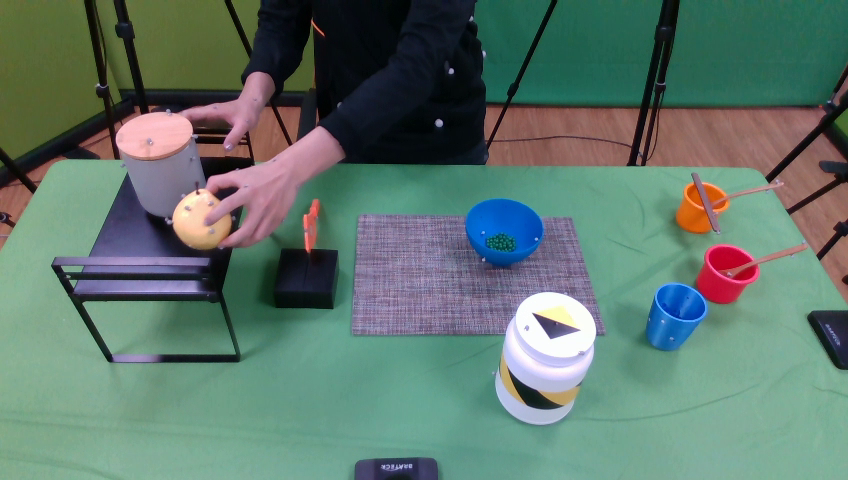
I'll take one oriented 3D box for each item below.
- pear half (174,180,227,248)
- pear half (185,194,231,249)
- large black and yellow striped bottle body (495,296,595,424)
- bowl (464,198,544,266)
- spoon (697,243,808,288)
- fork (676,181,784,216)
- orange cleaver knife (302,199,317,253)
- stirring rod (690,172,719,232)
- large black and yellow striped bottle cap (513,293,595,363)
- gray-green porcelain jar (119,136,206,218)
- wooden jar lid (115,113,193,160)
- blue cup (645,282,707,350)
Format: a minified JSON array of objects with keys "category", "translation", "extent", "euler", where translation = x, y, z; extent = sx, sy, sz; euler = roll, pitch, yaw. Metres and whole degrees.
[{"category":"pear half","translation":[-0.322,-0.047,0.859],"extent":[0.056,0.110,0.076],"euler":[31,42,20]},{"category":"pear half","translation":[-0.296,-0.022,0.852],"extent":[0.031,0.088,0.070],"euler":[30,42,20]},{"category":"large black and yellow striped bottle body","translation":[0.183,0.182,0.923],"extent":[0.131,0.185,0.130],"euler":[2,46,-2]},{"category":"bowl","translation":[0.149,-0.004,1.167],"extent":[0.151,0.077,0.150],"euler":[2,46,-2]},{"category":"spoon","translation":[0.601,0.045,1.115],"extent":[0.194,0.022,0.041],"euler":[-29,35,30]},{"category":"fork","translation":[0.618,-0.083,1.235],"extent":[0.019,0.207,0.028],"euler":[55,40,-15]},{"category":"orange cleaver knife","translation":[-0.220,-0.031,1.168],"extent":[0.012,0.077,0.210],"euler":[-3,17,-4]},{"category":"stirring rod","translation":[0.566,-0.080,1.225],"extent":[0.014,0.006,0.175],"euler":[2,46,2]},{"category":"large black and yellow striped bottle cap","translation":[0.186,0.123,0.863],"extent":[0.115,0.019,0.114],"euler":[3,45,-3]},{"category":"gray-green porcelain jar","translation":[-0.403,-0.106,0.946],"extent":[0.106,0.127,0.105],"euler":[3,46,-2]},{"category":"wooden jar lid","translation":[-0.399,-0.151,0.900],"extent":[0.108,0.021,0.107],"euler":[3,46,-3]},{"category":"blue cup","translation":[0.425,0.136,1.042],"extent":[0.093,0.101,0.092],"euler":[1,44,-1]}]
